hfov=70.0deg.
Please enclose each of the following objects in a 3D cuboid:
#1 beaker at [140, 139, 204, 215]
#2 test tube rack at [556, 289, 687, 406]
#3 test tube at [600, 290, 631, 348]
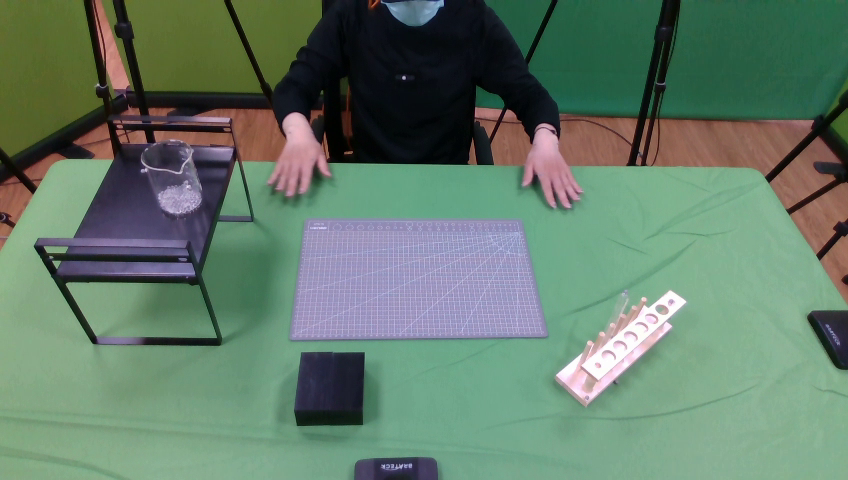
[{"bbox_3d":[-0.391,-0.095,0.954,0.074,0.101,0.083,-30,56,-27],"label":"beaker"},{"bbox_3d":[0.332,0.165,1.014,0.242,0.085,0.066,-30,55,-28],"label":"test tube rack"},{"bbox_3d":[0.309,0.131,0.983,0.017,0.151,0.017,1,48,-1],"label":"test tube"}]
